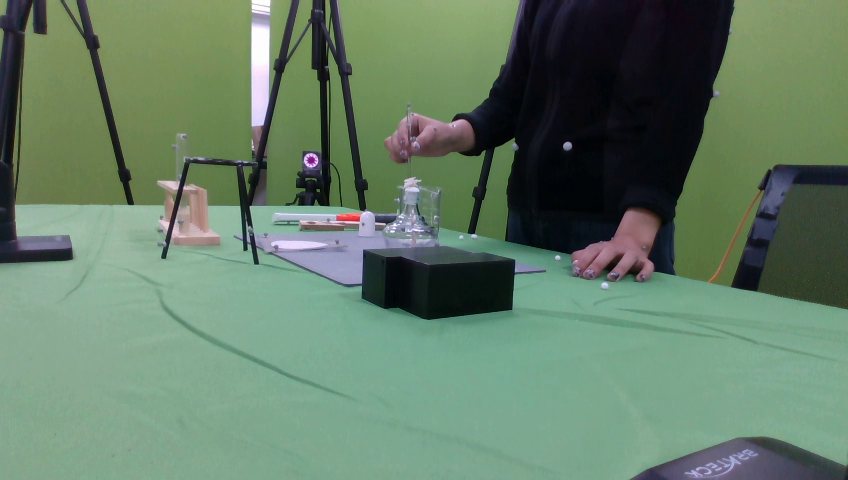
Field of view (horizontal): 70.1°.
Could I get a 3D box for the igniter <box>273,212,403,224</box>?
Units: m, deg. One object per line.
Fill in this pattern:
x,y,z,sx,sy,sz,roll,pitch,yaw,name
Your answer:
-0.179,-0.048,1.290,0.278,0.025,0.057,-1,-2,-24,igniter

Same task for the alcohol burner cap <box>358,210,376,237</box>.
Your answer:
-0.104,-0.030,1.098,0.034,0.048,0.034,2,7,0,alcohol burner cap

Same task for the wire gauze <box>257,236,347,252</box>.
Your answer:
-0.189,0.006,0.931,0.122,0.011,0.124,1,7,-21,wire gauze

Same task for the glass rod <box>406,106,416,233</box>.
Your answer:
-0.020,-0.110,0.951,0.008,0.199,0.008,-3,4,1,glass rod

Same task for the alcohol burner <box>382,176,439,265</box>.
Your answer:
-0.018,-0.026,0.818,0.078,0.119,0.078,3,9,0,alcohol burner

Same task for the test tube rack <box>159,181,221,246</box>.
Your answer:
-0.395,-0.050,1.010,0.067,0.085,0.241,-2,8,-28,test tube rack

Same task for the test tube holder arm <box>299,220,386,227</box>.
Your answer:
-0.158,-0.032,1.195,0.179,0.015,0.013,-2,44,-29,test tube holder arm

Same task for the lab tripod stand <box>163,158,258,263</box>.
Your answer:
-0.265,-0.041,0.802,0.148,0.131,0.148,4,7,0,lab tripod stand

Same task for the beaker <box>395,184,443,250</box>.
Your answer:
-0.007,-0.037,0.964,0.074,0.100,0.083,-4,10,-40,beaker

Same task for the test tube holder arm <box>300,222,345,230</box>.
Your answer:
-0.196,-0.027,1.170,0.088,0.015,0.010,-1,44,-28,test tube holder arm

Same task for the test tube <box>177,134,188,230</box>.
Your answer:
-0.374,-0.089,0.938,0.017,0.150,0.017,2,4,0,test tube
